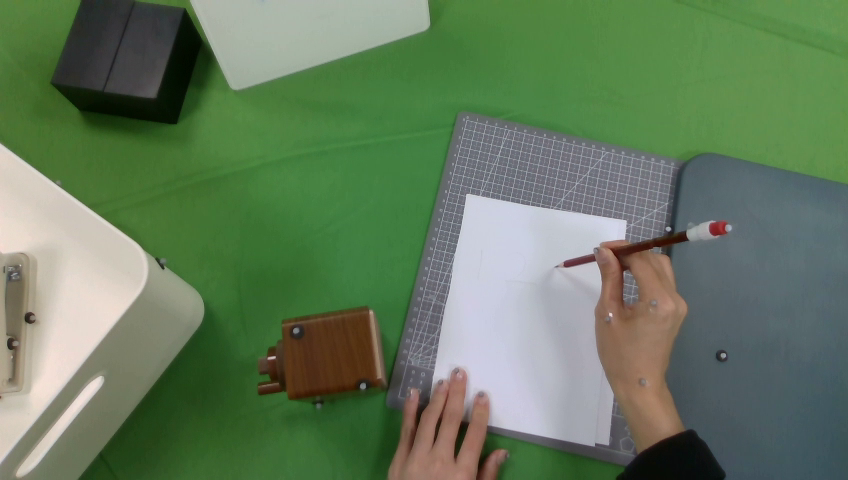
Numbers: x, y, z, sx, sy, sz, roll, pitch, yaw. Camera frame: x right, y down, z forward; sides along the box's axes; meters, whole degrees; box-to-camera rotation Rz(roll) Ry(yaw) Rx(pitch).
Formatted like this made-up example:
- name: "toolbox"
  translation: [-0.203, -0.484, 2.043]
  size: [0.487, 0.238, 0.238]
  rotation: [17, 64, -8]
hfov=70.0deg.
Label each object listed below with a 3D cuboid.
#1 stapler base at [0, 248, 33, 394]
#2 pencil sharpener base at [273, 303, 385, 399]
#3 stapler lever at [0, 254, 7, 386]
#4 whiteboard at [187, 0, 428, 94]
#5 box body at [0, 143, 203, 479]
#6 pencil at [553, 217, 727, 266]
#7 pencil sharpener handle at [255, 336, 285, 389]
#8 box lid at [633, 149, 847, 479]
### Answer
- name: "stapler base"
  translation: [-0.371, 0.069, 0.529]
  size: [0.041, 0.024, 0.130]
  rotation: [-7, 77, -2]
- name: "pencil sharpener base"
  translation: [-0.075, 0.094, 0.496]
  size: [0.077, 0.107, 0.061]
  rotation: [-9, 75, -4]
- name: "stapler lever"
  translation: [-0.369, 0.063, 0.504]
  size: [0.027, 0.040, 0.117]
  rotation: [-7, 77, -2]
- name: "whiteboard"
  translation: [-0.133, -0.323, 0.538]
  size: [0.217, 0.308, 0.142]
  rotation: [-20, 56, -7]
- name: "box body"
  translation: [-0.395, 0.035, 0.472]
  size: [0.363, 0.161, 0.253]
  rotation: [34, 76, 7]
- name: "pencil"
  translation: [0.159, 0.006, 0.486]
  size: [0.012, 0.194, 0.012]
  rotation: [4, 78, -22]
- name: "pencil sharpener handle"
  translation: [-0.125, 0.102, 0.479]
  size: [0.031, 0.068, 0.035]
  rotation: [-9, 58, -4]
- name: "box lid"
  translation: [0.341, 0.103, 0.559]
  size: [0.263, 0.015, 0.369]
  rotation: [13, 75, 1]
